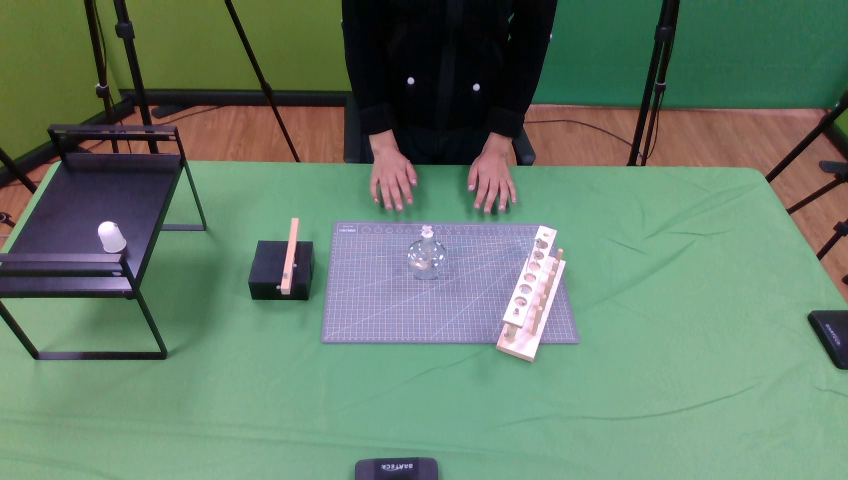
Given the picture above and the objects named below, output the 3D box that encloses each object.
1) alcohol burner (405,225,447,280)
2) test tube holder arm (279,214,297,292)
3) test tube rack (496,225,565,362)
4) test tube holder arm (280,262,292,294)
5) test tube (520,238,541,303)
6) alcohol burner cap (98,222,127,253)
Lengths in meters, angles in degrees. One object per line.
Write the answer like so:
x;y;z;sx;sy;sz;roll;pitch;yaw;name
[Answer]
0.004;0.017;1.115;0.078;0.120;0.077;1;47;-1;alcohol burner
-0.242;0.020;1.087;0.015;0.013;0.177;7;49;-12;test tube holder arm
0.200;0.089;1.081;0.066;0.085;0.241;19;48;13;test tube rack
-0.241;0.057;1.062;0.015;0.010;0.087;7;49;-12;test tube holder arm
0.182;0.056;1.042;0.017;0.151;0.017;1;44;-1;test tube
-0.468;-0.007;0.904;0.034;0.048;0.033;3;45;-3;alcohol burner cap
